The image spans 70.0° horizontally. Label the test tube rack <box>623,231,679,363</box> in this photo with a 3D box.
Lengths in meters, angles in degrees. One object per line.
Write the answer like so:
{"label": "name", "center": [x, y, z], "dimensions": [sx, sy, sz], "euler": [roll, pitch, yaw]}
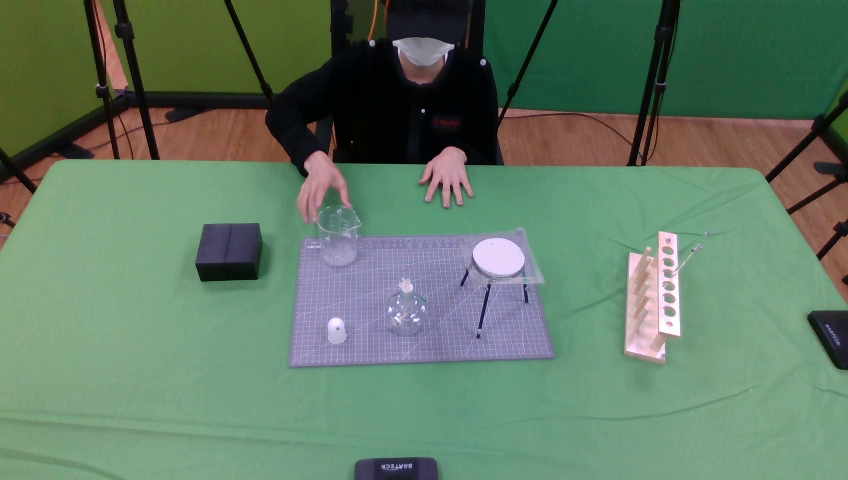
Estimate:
{"label": "test tube rack", "center": [0.410, 0.094, 1.096], "dimensions": [0.066, 0.085, 0.241], "euler": [13, 46, 9]}

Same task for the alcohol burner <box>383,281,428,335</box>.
{"label": "alcohol burner", "center": [-0.030, 0.108, 1.024], "dimensions": [0.078, 0.119, 0.077], "euler": [2, 48, -2]}

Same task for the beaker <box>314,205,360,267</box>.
{"label": "beaker", "center": [-0.160, -0.004, 1.133], "dimensions": [0.084, 0.101, 0.073], "euler": [9, 46, 3]}

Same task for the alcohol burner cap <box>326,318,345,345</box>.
{"label": "alcohol burner cap", "center": [-0.149, 0.151, 1.023], "dimensions": [0.034, 0.048, 0.033], "euler": [3, 46, -3]}

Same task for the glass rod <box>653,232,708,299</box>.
{"label": "glass rod", "center": [0.441, 0.049, 1.050], "dimensions": [0.008, 0.200, 0.008], "euler": [4, 52, -5]}

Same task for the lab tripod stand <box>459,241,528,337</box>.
{"label": "lab tripod stand", "center": [0.122, 0.075, 1.054], "dimensions": [0.148, 0.132, 0.147], "euler": [3, 44, -3]}

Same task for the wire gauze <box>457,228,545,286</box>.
{"label": "wire gauze", "center": [0.126, 0.029, 1.006], "dimensions": [0.125, 0.011, 0.120], "euler": [-4, 46, -10]}
